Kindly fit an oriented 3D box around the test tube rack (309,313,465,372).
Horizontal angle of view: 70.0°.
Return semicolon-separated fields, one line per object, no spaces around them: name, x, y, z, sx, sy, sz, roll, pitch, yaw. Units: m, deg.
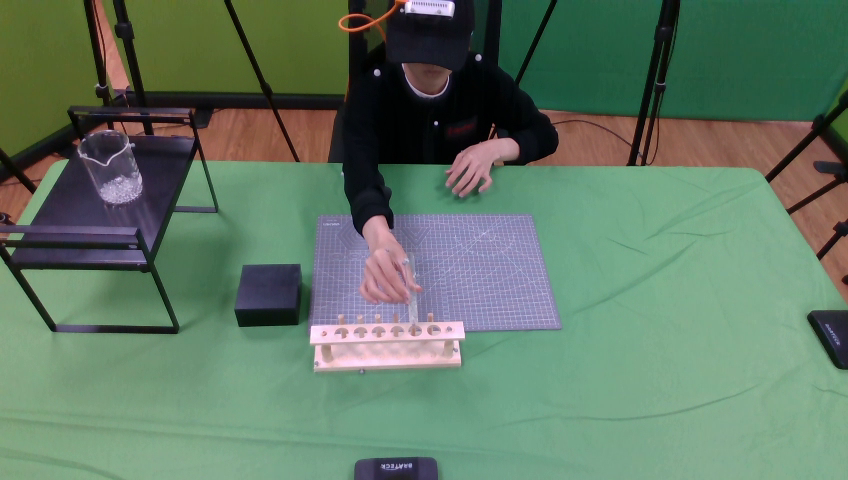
test tube rack;-0.059;0.161;0.990;0.242;0.085;0.066;-1;46;-5

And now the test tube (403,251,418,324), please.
test tube;-0.019;0.075;0.901;0.017;0.151;0.017;-2;43;2

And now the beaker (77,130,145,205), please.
beaker;-0.493;-0.111;0.965;0.074;0.101;0.083;-14;49;-16
